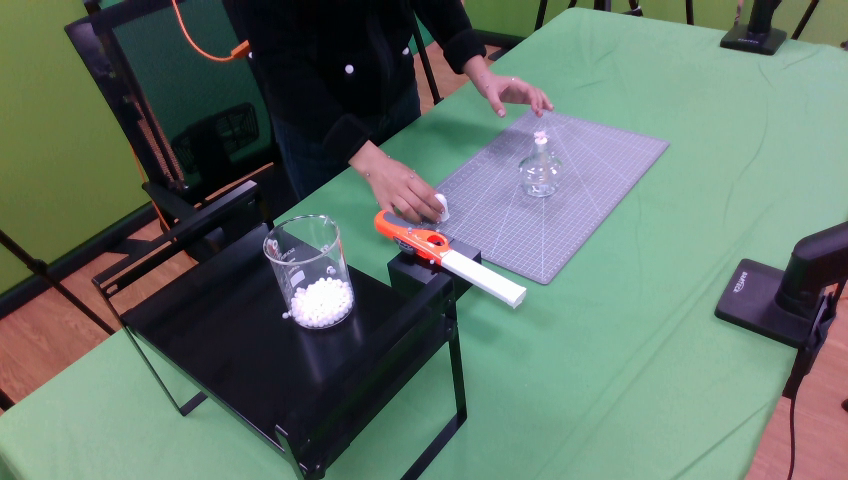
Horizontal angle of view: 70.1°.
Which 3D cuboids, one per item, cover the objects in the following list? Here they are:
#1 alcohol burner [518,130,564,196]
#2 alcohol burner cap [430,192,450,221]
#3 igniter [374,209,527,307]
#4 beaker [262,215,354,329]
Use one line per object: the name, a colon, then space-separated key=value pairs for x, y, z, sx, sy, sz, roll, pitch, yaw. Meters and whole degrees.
alcohol burner: x=0.199 y=-0.135 z=1.027 sx=0.078 sy=0.119 sz=0.077 roll=-5 pitch=42 yaw=5
alcohol burner cap: x=0.026 y=-0.060 z=1.021 sx=0.034 sy=0.048 sz=0.033 roll=-6 pitch=42 yaw=6
igniter: x=0.026 y=0.019 z=0.873 sx=0.274 sy=0.025 sz=0.057 roll=29 pitch=52 yaw=31
beaker: x=-0.112 y=0.034 z=0.616 sx=0.073 sy=0.101 sz=0.084 roll=13 pitch=44 yaw=23
